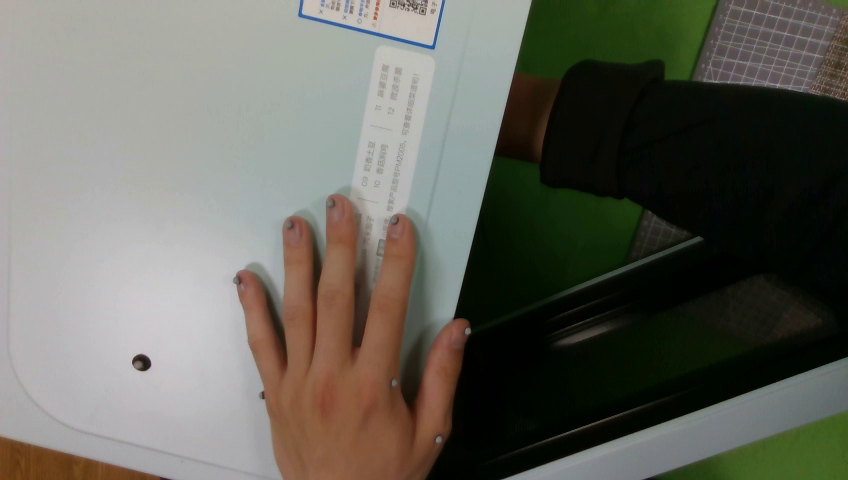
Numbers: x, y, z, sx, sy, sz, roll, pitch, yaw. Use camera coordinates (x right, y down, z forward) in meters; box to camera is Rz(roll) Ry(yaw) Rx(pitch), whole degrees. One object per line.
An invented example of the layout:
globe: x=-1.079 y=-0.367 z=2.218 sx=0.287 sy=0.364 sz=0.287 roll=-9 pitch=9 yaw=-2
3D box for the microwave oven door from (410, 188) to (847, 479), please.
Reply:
microwave oven door: x=0.159 y=0.074 z=0.443 sx=0.355 sy=0.243 sz=0.039 roll=-25 pitch=102 yaw=11

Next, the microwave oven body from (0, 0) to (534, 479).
microwave oven body: x=-0.090 y=-0.092 z=0.422 sx=0.326 sy=0.259 sz=0.443 roll=13 pitch=107 yaw=1

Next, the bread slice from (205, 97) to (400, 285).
bread slice: x=-0.091 y=-0.039 z=0.426 sx=0.134 sy=0.018 sz=0.107 roll=21 pitch=110 yaw=10

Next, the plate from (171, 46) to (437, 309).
plate: x=-0.093 y=-0.046 z=0.487 sx=0.208 sy=0.039 sz=0.208 roll=0 pitch=107 yaw=1

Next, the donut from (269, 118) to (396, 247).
donut: x=-0.070 y=-0.043 z=0.463 sx=0.099 sy=0.048 sz=0.099 roll=0 pitch=103 yaw=1

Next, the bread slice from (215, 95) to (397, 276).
bread slice: x=-0.104 y=-0.046 z=0.486 sx=0.132 sy=0.019 sz=0.105 roll=41 pitch=106 yaw=-5
